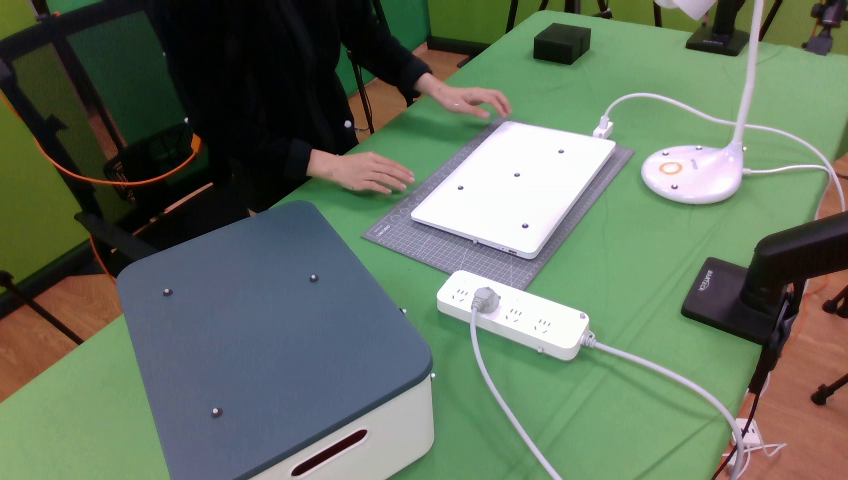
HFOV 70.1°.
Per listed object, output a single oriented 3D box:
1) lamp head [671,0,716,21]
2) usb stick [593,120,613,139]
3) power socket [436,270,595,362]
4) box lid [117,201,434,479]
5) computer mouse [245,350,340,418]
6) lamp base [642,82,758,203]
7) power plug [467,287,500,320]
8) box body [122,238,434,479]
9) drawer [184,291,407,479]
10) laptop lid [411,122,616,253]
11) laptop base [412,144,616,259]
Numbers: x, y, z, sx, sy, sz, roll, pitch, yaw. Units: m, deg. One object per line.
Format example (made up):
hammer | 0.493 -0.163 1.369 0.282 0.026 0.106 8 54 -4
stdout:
lamp head | 0.375 -0.373 0.807 0.122 0.113 0.112 -40 27 32
usb stick | 0.336 -0.201 1.147 0.021 0.027 0.059 26 53 26
power socket | 0.118 0.101 0.832 0.225 0.033 0.072 19 48 27
box lid | -0.182 0.087 0.675 0.264 0.015 0.368 -25 42 -20
computer mouse | -0.165 0.173 0.754 0.118 0.041 0.062 -18 34 -18
lamp base | 0.464 -0.174 0.992 0.179 0.181 0.159 -5 41 -1
power plug | 0.073 0.092 0.814 0.035 0.053 0.073 29 54 34
box body | -0.175 0.142 0.725 0.255 0.161 0.360 -25 43 -20
drawer | -0.155 0.179 0.719 0.195 0.073 0.210 -27 40 -21
laptop lid | 0.165 -0.111 1.067 0.240 0.013 0.357 19 46 31
laptop base | 0.168 -0.101 1.073 0.234 0.023 0.355 17 46 30
